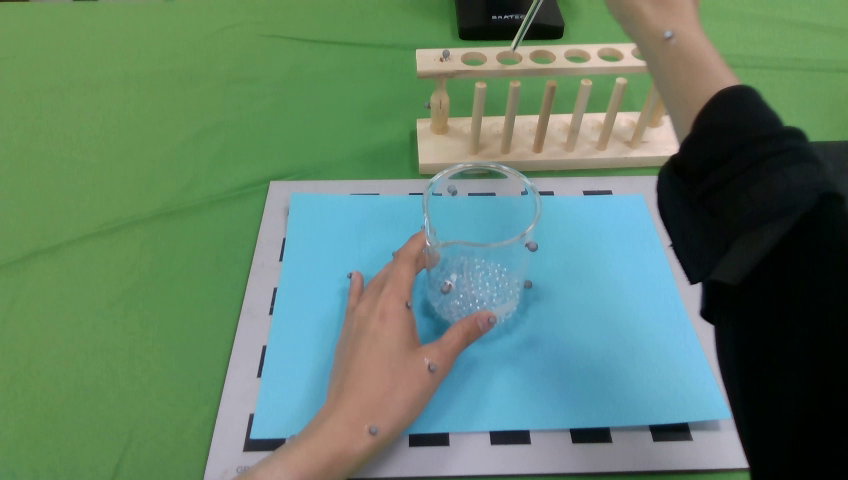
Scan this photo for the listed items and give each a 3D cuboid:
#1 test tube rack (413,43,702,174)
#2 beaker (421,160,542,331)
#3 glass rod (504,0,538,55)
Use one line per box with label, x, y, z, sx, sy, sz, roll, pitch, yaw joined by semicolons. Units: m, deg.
test tube rack;0.113;-0.116;0.534;0.242;0.086;0.066;-2;48;-2
beaker;0.033;0.010;0.407;0.084;0.101;0.073;-37;58;-27
glass rod;0.097;-0.207;0.421;0.008;0.200;0.008;10;56;-14
